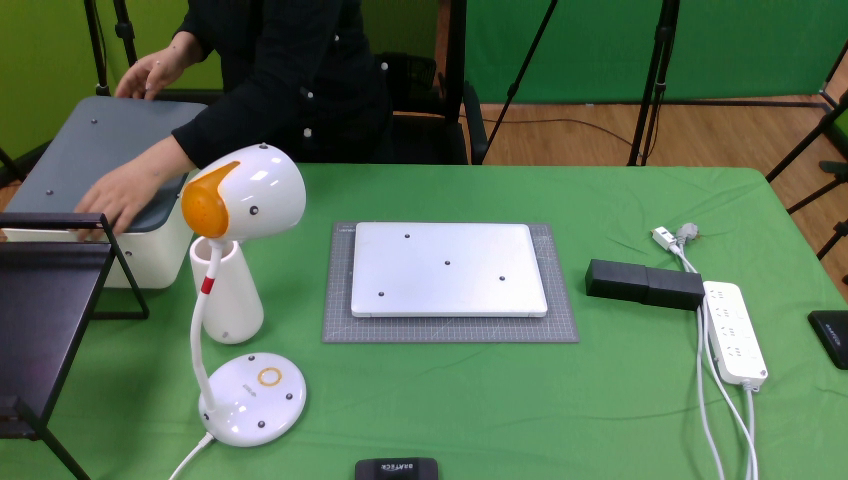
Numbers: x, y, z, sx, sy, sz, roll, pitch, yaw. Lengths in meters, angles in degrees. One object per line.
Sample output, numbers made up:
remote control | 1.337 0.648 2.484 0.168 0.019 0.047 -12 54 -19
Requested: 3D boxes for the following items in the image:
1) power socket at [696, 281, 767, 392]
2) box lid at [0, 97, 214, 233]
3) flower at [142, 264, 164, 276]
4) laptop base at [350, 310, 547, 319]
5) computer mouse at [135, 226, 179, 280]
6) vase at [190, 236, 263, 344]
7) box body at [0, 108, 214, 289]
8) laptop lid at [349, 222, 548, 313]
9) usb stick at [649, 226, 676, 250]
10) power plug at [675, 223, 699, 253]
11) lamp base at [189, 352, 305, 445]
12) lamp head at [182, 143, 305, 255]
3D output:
power socket | 0.543 0.161 1.077 0.072 0.033 0.225 6 46 2
box lid | -0.548 -0.145 1.087 0.263 0.015 0.369 2 46 -2
flower | -0.491 -0.055 1.173 0.044 0.038 0.359 -39 34 18
laptop base | 0.041 0.056 1.149 0.355 0.023 0.234 0 43 -4
computer mouse | -0.492 0.020 1.118 0.063 0.041 0.116 1 54 -9
vase | -0.317 0.081 0.972 0.098 0.201 0.097 3 47 -3
box body | -0.563 -0.087 1.139 0.254 0.161 0.361 2 46 -3
laptop lid | 0.042 0.046 1.142 0.357 0.013 0.240 2 44 -3
usb stick | 0.485 -0.008 1.237 0.021 0.027 0.059 -22 44 -13
power plug | 0.537 0.000 1.244 0.053 0.035 0.072 19 82 -17
lamp base | -0.268 0.196 0.876 0.160 0.181 0.179 25 52 19
lamp head | -0.216 -0.044 0.697 0.112 0.113 0.123 23 31 17
